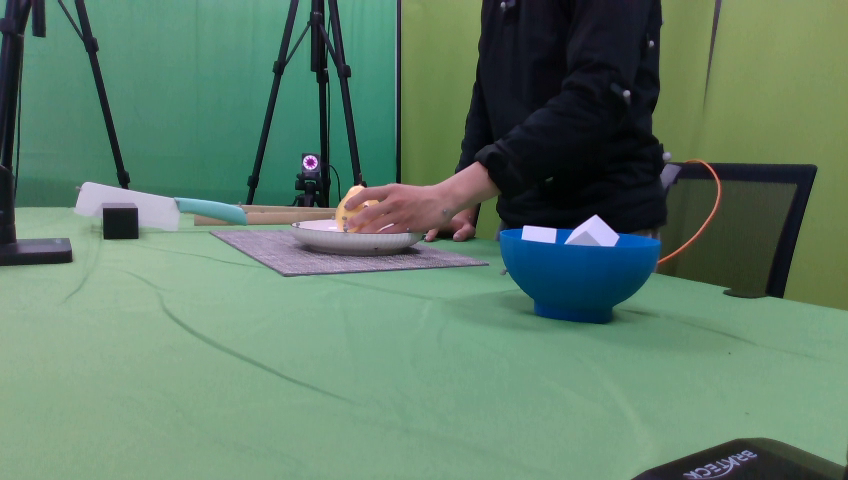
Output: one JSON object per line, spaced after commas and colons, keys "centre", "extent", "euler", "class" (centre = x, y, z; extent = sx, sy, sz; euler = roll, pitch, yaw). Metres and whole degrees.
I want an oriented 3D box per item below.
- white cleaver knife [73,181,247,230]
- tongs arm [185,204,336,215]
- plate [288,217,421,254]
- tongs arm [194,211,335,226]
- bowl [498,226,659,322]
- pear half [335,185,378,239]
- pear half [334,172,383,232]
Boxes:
{"centre": [-0.465, -0.052, 1.090], "extent": [0.288, 0.066, 0.021], "euler": [9, 7, -30], "class": "white cleaver knife"}
{"centre": [-0.337, -0.065, 1.377], "extent": [0.387, 0.026, 0.050], "euler": [0, 9, -25], "class": "tongs arm"}
{"centre": [-0.109, -0.007, 0.956], "extent": [0.208, 0.039, 0.207], "euler": [2, 7, 0], "class": "plate"}
{"centre": [-0.298, -0.050, 1.308], "extent": [0.390, 0.028, 0.028], "euler": [-4, 8, -38], "class": "tongs arm"}
{"centre": [0.145, 0.032, 0.585], "extent": [0.151, 0.077, 0.151], "euler": [2, 7, 0], "class": "bowl"}
{"centre": [-0.112, -0.045, 0.974], "extent": [0.071, 0.088, 0.031], "euler": [-6, 12, -24], "class": "pear half"}
{"centre": [-0.099, -0.050, 0.940], "extent": [0.077, 0.110, 0.055], "euler": [-6, 11, -23], "class": "pear half"}
